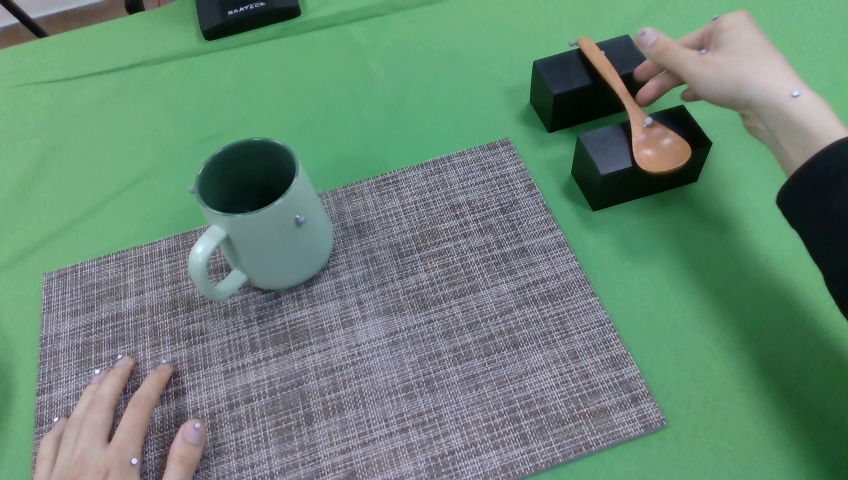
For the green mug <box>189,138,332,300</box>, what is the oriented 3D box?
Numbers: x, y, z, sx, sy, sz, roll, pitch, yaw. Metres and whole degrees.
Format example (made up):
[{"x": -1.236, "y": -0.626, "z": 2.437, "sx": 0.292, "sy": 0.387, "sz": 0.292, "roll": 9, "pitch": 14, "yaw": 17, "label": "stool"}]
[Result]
[{"x": -0.137, "y": -0.007, "z": 0.489, "sx": 0.092, "sy": 0.106, "sz": 0.125, "roll": 24, "pitch": 61, "yaw": 20, "label": "green mug"}]

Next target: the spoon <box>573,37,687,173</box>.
[{"x": 0.173, "y": -0.126, "z": 0.533, "sx": 0.041, "sy": 0.022, "sz": 0.191, "roll": -24, "pitch": 55, "yaw": 10, "label": "spoon"}]
